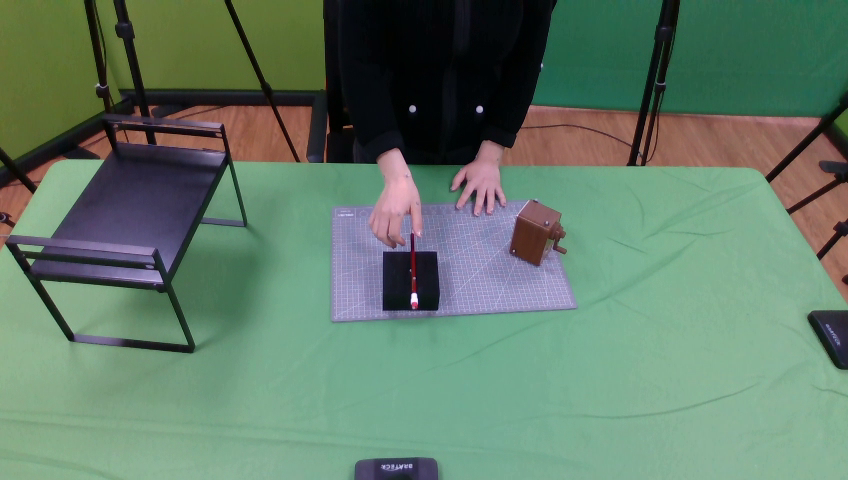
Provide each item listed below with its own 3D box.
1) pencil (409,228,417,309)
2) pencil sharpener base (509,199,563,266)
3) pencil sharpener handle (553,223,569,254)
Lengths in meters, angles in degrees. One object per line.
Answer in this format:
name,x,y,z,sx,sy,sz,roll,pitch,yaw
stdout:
pencil,-0.021,0.046,1.087,0.012,0.012,0.193,0,46,-4
pencil sharpener base,0.216,-0.012,1.160,0.076,0.107,0.061,27,50,20
pencil sharpener handle,0.260,-0.001,1.135,0.030,0.068,0.036,27,58,20
